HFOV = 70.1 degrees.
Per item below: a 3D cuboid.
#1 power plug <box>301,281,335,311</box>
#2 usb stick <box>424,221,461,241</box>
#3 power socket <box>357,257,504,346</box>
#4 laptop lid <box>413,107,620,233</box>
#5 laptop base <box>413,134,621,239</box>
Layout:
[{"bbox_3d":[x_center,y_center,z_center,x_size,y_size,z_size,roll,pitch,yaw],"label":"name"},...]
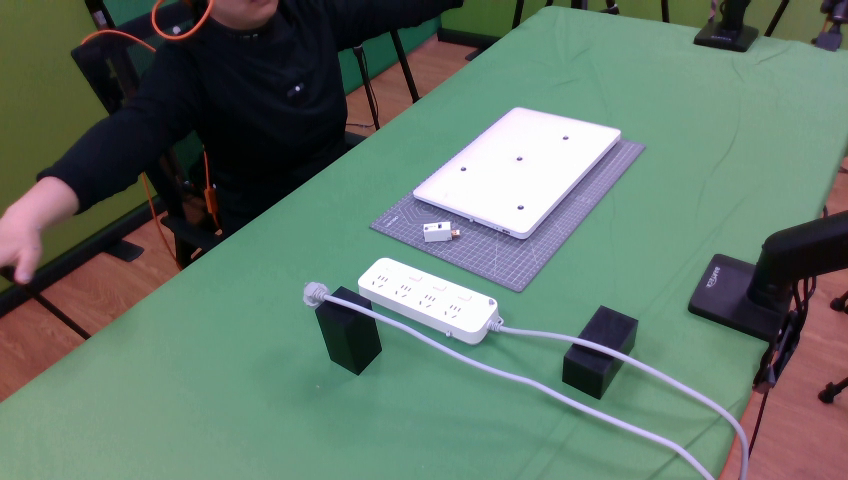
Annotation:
[{"bbox_3d":[-0.134,0.081,0.783,0.035,0.053,0.072,-42,48,-7],"label":"power plug"},{"bbox_3d":[0.030,-0.014,0.973,0.059,0.027,0.021,-2,42,1],"label":"usb stick"},{"bbox_3d":[0.002,0.084,0.862,0.225,0.033,0.072,20,49,28],"label":"power socket"},{"bbox_3d":[0.173,-0.144,1.095,0.239,0.013,0.358,23,49,33],"label":"laptop lid"},{"bbox_3d":[0.176,-0.134,1.101,0.233,0.023,0.355,21,48,33],"label":"laptop base"}]
